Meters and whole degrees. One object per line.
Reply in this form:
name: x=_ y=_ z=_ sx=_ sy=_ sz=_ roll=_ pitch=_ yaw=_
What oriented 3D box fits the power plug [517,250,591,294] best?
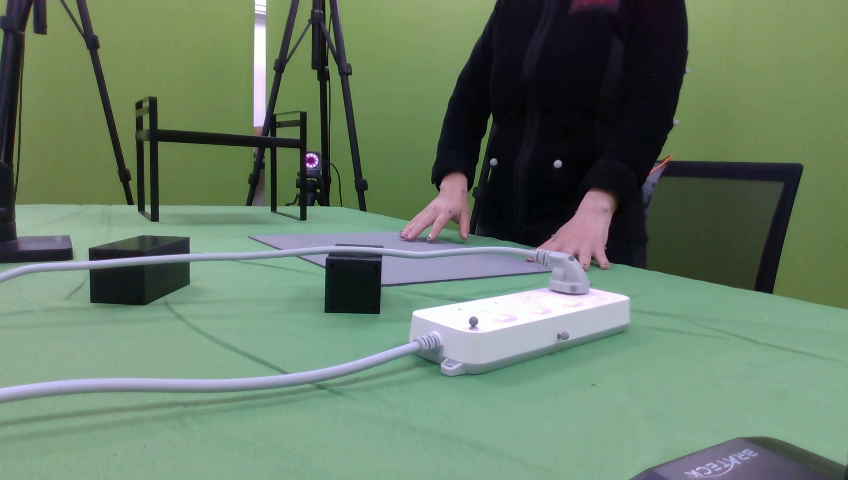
power plug: x=0.120 y=0.037 z=0.554 sx=0.035 sy=0.052 sz=0.072 roll=-2 pitch=9 yaw=-32

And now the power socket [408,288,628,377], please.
power socket: x=0.084 y=0.065 z=0.485 sx=0.228 sy=0.032 sz=0.072 roll=-5 pitch=9 yaw=-42
